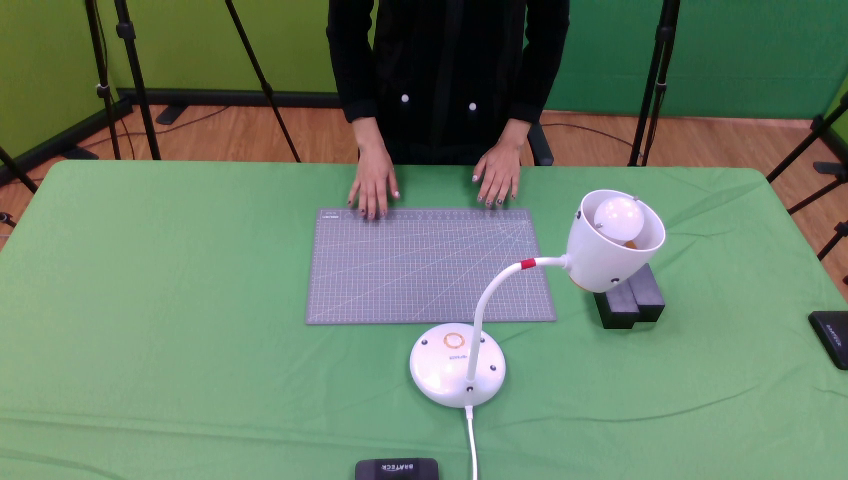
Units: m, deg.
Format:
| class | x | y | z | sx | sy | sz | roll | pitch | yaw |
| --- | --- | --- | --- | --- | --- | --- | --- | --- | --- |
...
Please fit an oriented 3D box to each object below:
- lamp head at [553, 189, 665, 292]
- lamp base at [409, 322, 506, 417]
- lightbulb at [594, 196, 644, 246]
| class | x | y | z | sx | sy | sz | roll | pitch | yaw |
| --- | --- | --- | --- | --- | --- | --- | --- | --- | --- |
| lamp head | 0.233 | 0.011 | 0.796 | 0.113 | 0.123 | 0.111 | 13 | 43 | -12 |
| lamp base | 0.063 | 0.160 | 0.941 | 0.161 | 0.181 | 0.178 | -10 | 50 | -13 |
| lightbulb | 0.243 | -0.009 | 0.784 | 0.059 | 0.108 | 0.059 | 8 | 40 | -7 |
